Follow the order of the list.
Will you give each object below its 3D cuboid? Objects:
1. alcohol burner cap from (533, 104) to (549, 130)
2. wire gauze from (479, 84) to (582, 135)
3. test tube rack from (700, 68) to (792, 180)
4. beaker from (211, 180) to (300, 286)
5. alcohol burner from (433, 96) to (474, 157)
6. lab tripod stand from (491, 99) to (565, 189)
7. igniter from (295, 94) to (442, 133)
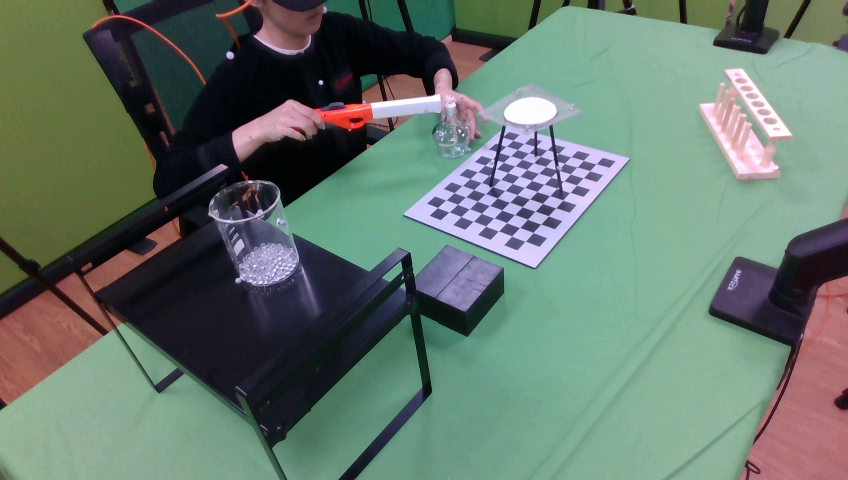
[{"bbox_3d":[0.235,-0.251,1.217,0.034,0.048,0.033,-5,41,5],"label":"alcohol burner cap"},{"bbox_3d":[0.176,-0.216,1.006,0.125,0.011,0.120,-29,46,-22],"label":"wire gauze"},{"bbox_3d":[0.572,-0.215,1.090,0.066,0.085,0.241,-3,41,7],"label":"test tube rack"},{"bbox_3d":[-0.183,-0.007,0.674,0.074,0.101,0.083,-1,40,7],"label":"beaker"},{"bbox_3d":[0.055,-0.220,1.154,0.078,0.119,0.077,-3,39,3],"label":"alcohol burner"},{"bbox_3d":[0.184,-0.163,1.046,0.148,0.132,0.147,-5,42,5],"label":"lab tripod stand"},{"bbox_3d":[-0.104,-0.234,1.115,0.277,0.057,0.025,-8,48,-1],"label":"igniter"}]
